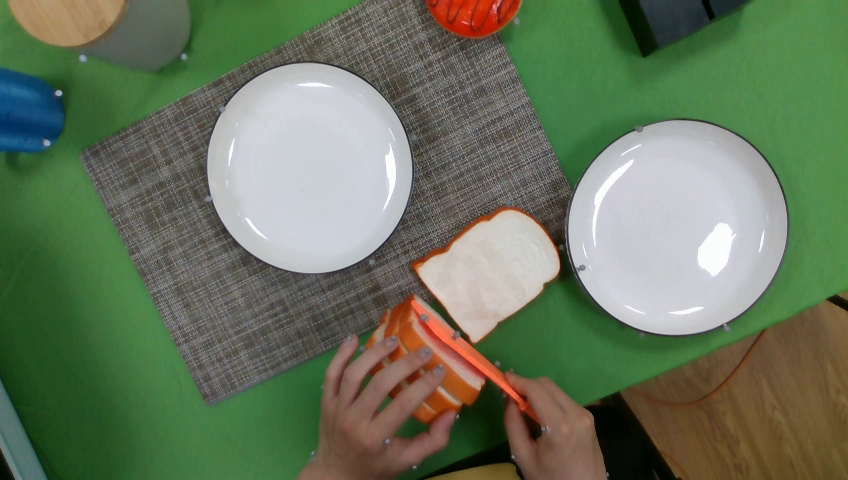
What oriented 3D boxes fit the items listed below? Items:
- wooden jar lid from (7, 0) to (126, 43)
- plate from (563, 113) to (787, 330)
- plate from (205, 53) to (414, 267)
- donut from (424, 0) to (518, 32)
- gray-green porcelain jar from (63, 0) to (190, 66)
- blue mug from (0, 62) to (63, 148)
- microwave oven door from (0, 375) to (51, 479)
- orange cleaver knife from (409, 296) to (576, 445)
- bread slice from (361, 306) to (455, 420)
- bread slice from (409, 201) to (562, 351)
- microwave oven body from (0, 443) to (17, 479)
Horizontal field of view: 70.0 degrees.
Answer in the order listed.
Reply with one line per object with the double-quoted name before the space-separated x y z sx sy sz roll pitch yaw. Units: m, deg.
"wooden jar lid" -0.294 -0.218 0.502 0.108 0.020 0.108 0 95 5
"plate" 0.239 -0.017 0.593 0.209 0.038 0.209 0 96 4
"plate" -0.112 -0.077 0.608 0.207 0.039 0.208 0 96 4
"donut" 0.044 -0.248 0.575 0.099 0.048 0.099 0 97 3
"gray-green porcelain jar" -0.289 -0.223 0.564 0.106 0.126 0.106 0 95 4
"blue mug" -0.437 -0.123 0.595 0.082 0.106 0.116 39 97 0
"microwave oven door" -0.465 0.208 0.546 0.039 0.243 0.356 -22 94 6
"orange cleaver knife" 0.066 0.124 0.577 0.213 0.076 0.012 42 90 -19
"bread slice" -0.017 0.118 0.579 0.105 0.131 0.019 44 101 -1
"bread slice" 0.070 0.028 0.584 0.134 0.018 0.107 -35 93 -16
"microwave oven body" -0.616 0.223 0.563 0.326 0.260 0.442 -22 95 5
